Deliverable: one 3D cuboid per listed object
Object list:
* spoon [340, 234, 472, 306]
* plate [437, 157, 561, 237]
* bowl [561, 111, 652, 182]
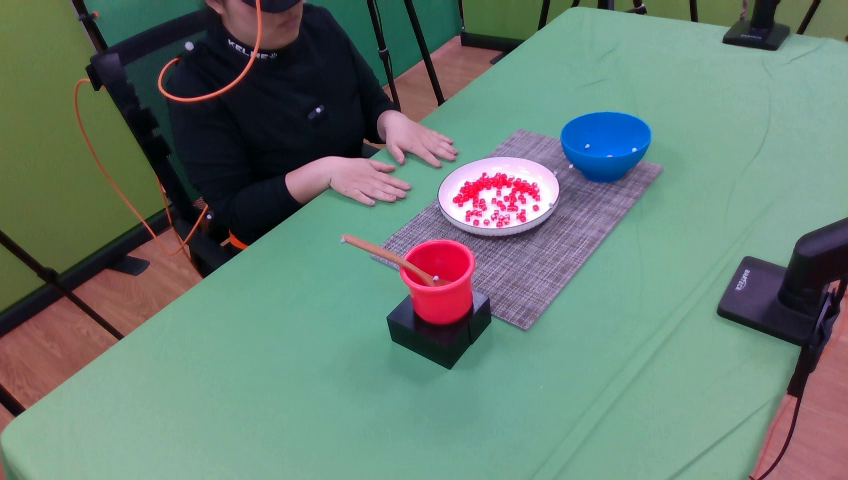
[{"bbox_3d":[-0.020,0.036,0.770,0.195,0.021,0.041,31,37,-21],"label":"spoon"},{"bbox_3d":[0.126,-0.070,1.023,0.207,0.039,0.206,-5,40,5],"label":"plate"},{"bbox_3d":[0.314,-0.153,1.055,0.151,0.077,0.150,-5,40,5],"label":"bowl"}]
